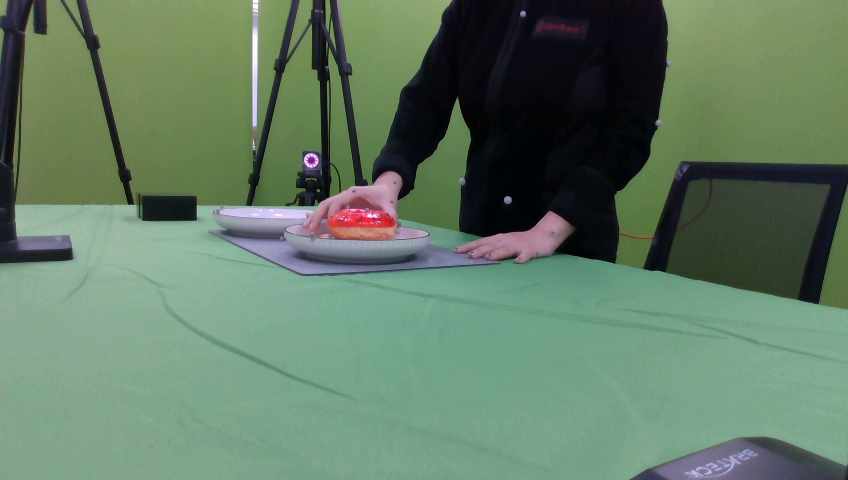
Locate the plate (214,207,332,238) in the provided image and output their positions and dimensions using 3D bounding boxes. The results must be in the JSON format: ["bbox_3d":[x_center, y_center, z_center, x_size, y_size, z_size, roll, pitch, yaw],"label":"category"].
[{"bbox_3d":[-0.268,-0.032,1.084,0.208,0.039,0.207,2,7,0],"label":"plate"}]

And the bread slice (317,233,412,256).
[{"bbox_3d":[-0.096,0.004,0.863,0.107,0.018,0.133,-3,7,-30],"label":"bread slice"}]

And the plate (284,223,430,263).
[{"bbox_3d":[-0.094,0.003,0.868,0.209,0.038,0.209,2,7,0],"label":"plate"}]

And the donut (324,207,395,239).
[{"bbox_3d":[-0.089,-0.021,0.847,0.099,0.048,0.099,4,8,0],"label":"donut"}]
